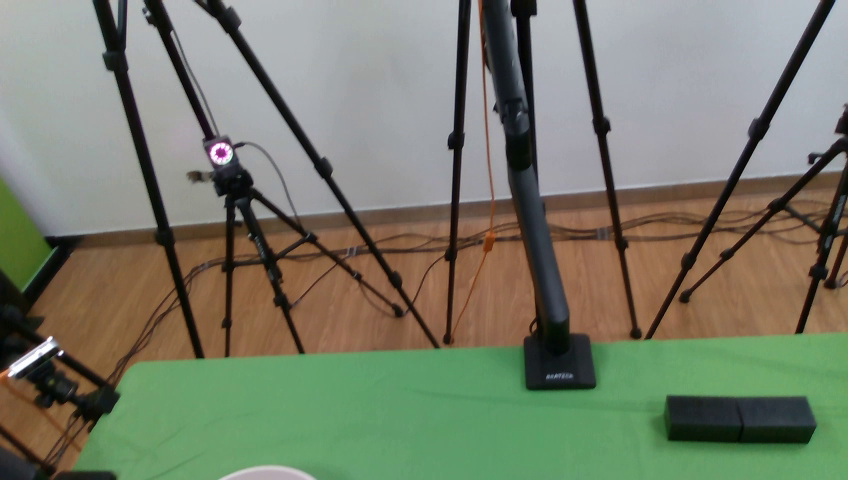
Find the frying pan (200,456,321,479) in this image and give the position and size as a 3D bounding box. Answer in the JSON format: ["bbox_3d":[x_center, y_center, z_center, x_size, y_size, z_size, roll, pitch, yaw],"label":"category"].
[{"bbox_3d":[-0.264,0.515,0.780,0.306,0.103,0.484,-5,33,9],"label":"frying pan"}]
